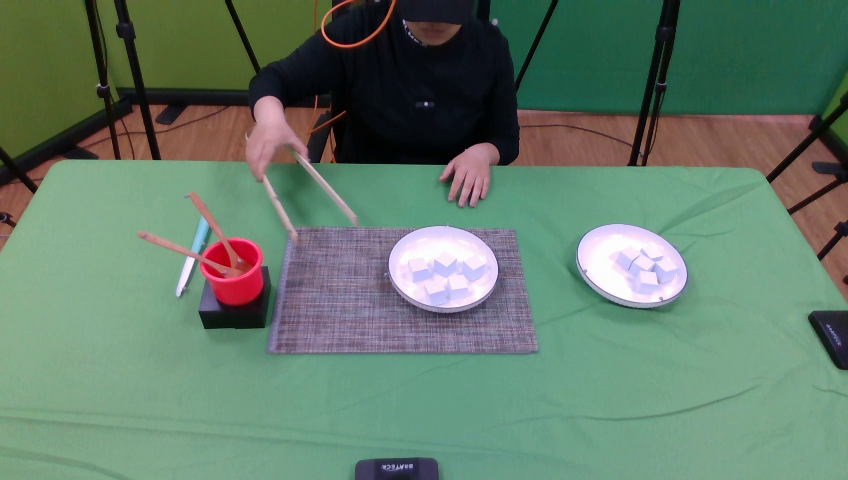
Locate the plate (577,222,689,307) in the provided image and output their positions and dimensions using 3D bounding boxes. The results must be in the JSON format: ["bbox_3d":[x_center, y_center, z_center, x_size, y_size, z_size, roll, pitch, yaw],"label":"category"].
[{"bbox_3d":[0.396,0.050,1.165,0.209,0.038,0.208,2,47,-2],"label":"plate"}]

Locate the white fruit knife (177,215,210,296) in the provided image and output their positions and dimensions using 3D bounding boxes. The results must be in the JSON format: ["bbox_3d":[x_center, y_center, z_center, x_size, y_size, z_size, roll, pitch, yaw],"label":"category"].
[{"bbox_3d":[-0.435,0.025,1.148,0.027,0.016,0.206,-17,45,18],"label":"white fruit knife"}]

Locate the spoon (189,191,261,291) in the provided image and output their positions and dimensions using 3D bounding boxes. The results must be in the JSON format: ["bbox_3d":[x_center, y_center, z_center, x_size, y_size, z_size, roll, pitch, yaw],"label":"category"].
[{"bbox_3d":[-0.333,0.001,1.012,0.041,0.194,0.021,-34,15,-25],"label":"spoon"}]

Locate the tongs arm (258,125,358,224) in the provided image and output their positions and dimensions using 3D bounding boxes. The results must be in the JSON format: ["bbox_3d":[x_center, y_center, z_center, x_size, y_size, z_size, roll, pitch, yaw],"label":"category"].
[{"bbox_3d":[-0.235,-0.139,1.202,0.028,0.028,0.385,-29,49,-22],"label":"tongs arm"}]

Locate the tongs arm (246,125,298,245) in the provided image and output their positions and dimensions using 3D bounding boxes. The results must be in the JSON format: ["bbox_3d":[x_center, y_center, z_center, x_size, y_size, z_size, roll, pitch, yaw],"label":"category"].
[{"bbox_3d":[-0.289,-0.119,1.179,0.051,0.026,0.382,-21,46,-19],"label":"tongs arm"}]

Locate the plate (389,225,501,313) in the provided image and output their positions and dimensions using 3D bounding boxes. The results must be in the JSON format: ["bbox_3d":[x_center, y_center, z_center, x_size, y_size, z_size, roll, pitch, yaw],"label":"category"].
[{"bbox_3d":[0.038,0.057,1.129,0.208,0.039,0.206,2,46,-2],"label":"plate"}]

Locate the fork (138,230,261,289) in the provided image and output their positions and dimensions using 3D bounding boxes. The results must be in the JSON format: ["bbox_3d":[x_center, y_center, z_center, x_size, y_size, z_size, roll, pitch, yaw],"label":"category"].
[{"bbox_3d":[-0.359,0.032,0.981,0.208,0.018,0.028,31,60,-30],"label":"fork"}]
